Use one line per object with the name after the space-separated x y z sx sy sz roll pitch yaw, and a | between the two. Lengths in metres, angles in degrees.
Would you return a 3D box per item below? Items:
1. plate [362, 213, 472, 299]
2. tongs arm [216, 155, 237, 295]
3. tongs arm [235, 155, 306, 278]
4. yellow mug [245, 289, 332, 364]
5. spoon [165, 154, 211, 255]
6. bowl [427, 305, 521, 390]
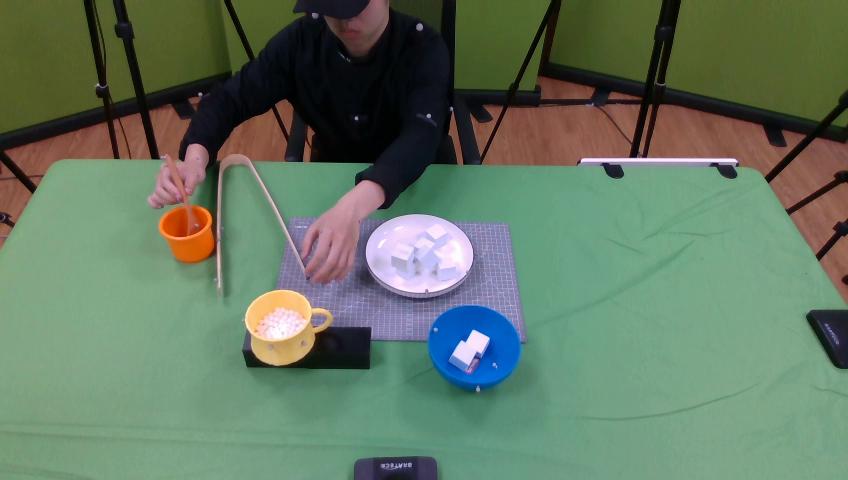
-0.013 0.034 1.150 0.208 0.039 0.206 2 46 -2 | plate
-0.388 -0.043 1.201 0.051 0.026 0.382 -10 46 -12 | tongs arm
-0.312 -0.059 1.224 0.028 0.028 0.385 -22 50 -18 | tongs arm
-0.210 0.133 0.954 0.131 0.064 0.099 -9 48 -14 | yellow mug
-0.438 -0.064 1.118 0.041 0.194 0.021 -23 21 -32 | spoon
0.076 0.188 0.985 0.151 0.077 0.150 3 46 -3 | bowl
